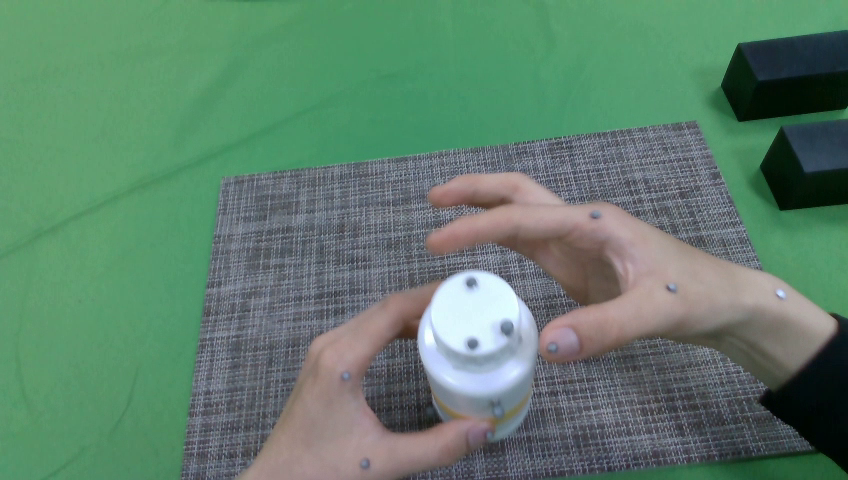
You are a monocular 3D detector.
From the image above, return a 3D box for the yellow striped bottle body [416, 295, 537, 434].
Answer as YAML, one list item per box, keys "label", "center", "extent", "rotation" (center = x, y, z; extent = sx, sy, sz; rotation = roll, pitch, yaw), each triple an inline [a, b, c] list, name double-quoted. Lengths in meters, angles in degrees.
- label: "yellow striped bottle body"
  center: [0.030, 0.065, 0.340]
  extent: [0.063, 0.121, 0.062]
  rotation: [-3, 59, 5]

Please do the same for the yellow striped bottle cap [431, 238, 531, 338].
- label: "yellow striped bottle cap"
  center: [0.026, 0.022, 0.274]
  extent: [0.044, 0.019, 0.044]
  rotation: [-4, 51, 5]
